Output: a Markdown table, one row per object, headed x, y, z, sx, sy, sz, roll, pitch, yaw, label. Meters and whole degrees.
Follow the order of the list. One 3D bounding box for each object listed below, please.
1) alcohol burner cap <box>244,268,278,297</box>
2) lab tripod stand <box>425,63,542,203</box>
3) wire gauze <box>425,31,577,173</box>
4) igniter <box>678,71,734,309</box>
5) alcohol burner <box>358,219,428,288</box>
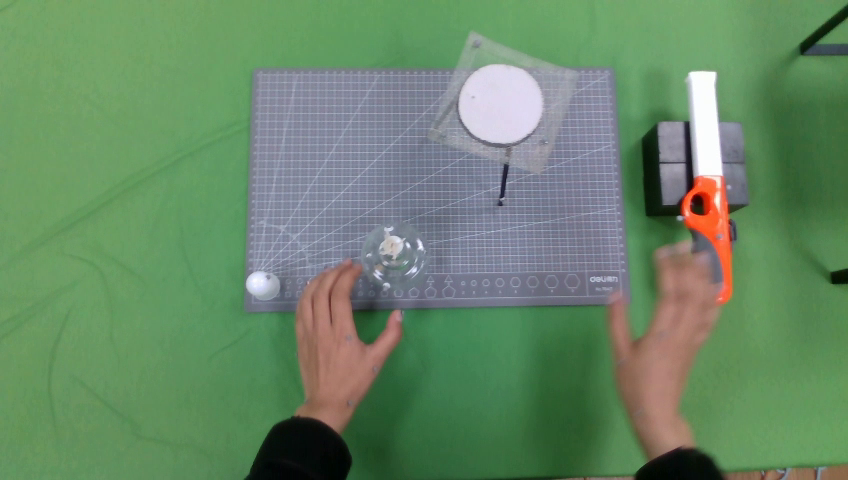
| x | y | z | sx | sy | sz | roll | pitch | yaw | label |
| --- | --- | --- | --- | --- | --- | --- | --- | --- | --- |
| -0.185 | 0.046 | 0.681 | 0.034 | 0.048 | 0.033 | 1 | 79 | -3 | alcohol burner cap |
| 0.075 | -0.129 | 0.676 | 0.148 | 0.132 | 0.147 | 0 | 77 | -1 | lab tripod stand |
| 0.079 | -0.139 | 0.610 | 0.121 | 0.011 | 0.124 | 22 | 78 | 2 | wire gauze |
| 0.315 | -0.060 | 0.682 | 0.057 | 0.025 | 0.275 | 1 | 78 | 2 | igniter |
| -0.034 | 0.012 | 0.656 | 0.078 | 0.119 | 0.077 | 0 | 81 | -2 | alcohol burner |
